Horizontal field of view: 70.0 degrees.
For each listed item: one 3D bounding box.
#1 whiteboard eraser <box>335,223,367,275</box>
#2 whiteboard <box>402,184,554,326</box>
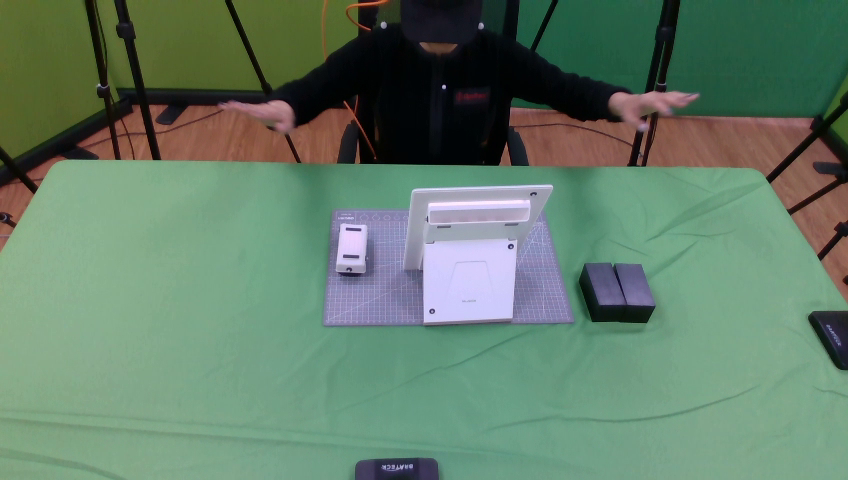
[{"bbox_3d":[-0.139,0.017,1.153,0.055,0.042,0.112,1,46,-3],"label":"whiteboard eraser"},{"bbox_3d":[0.081,0.044,1.005,0.217,0.306,0.143,-1,66,-6],"label":"whiteboard"}]
